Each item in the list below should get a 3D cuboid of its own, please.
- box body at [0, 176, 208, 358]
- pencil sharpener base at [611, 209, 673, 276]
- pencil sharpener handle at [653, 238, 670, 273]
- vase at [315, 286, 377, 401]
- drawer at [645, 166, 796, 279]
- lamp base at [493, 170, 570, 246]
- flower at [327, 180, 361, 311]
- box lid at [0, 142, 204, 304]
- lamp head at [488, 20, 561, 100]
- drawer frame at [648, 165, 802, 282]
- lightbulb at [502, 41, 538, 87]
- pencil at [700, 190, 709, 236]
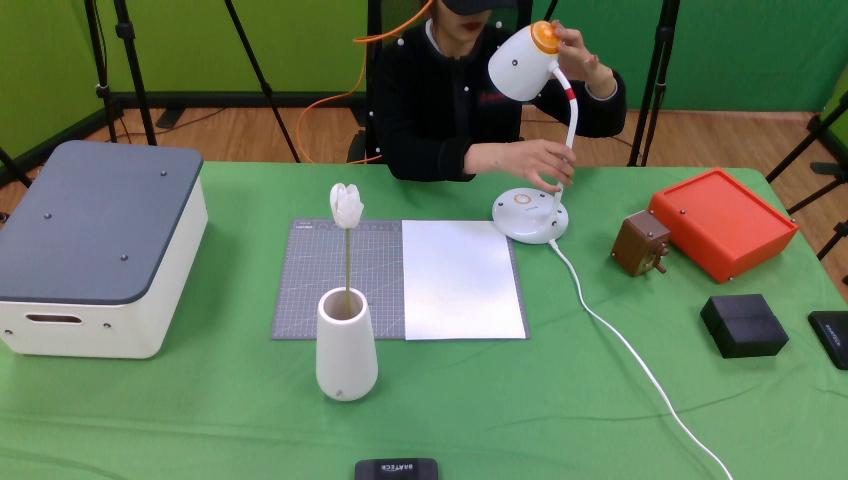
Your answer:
[{"bbox_3d":[-0.546,0.017,1.045,0.254,0.161,0.361,2,46,-2],"label":"box body"},{"bbox_3d":[0.416,0.007,1.158,0.061,0.107,0.076,-21,51,-22],"label":"pencil sharpener base"},{"bbox_3d":[0.444,0.030,1.120,0.036,0.068,0.030,-25,52,-18],"label":"pencil sharpener handle"},{"bbox_3d":[-0.119,0.159,0.911,0.098,0.201,0.097,2,47,-2],"label":"vase"},{"bbox_3d":[0.600,-0.040,1.236,0.195,0.073,0.210,-21,52,-23],"label":"drawer"},{"bbox_3d":[0.234,-0.099,1.197,0.161,0.181,0.178,-22,55,-23],"label":"lamp base"},{"bbox_3d":[-0.110,0.086,0.867,0.044,0.363,0.038,22,33,35],"label":"flower"},{"bbox_3d":[-0.534,-0.044,0.995,0.263,0.015,0.369,3,45,-3],"label":"box lid"},{"bbox_3d":[0.189,-0.323,1.072,0.113,0.123,0.112,8,69,-23],"label":"lamp head"},{"bbox_3d":[0.603,-0.040,1.234,0.202,0.083,0.212,-21,51,-23],"label":"drawer frame"},{"bbox_3d":[0.178,-0.320,1.096,0.059,0.108,0.059,4,70,-11],"label":"lightbulb"},{"bbox_3d":[0.583,-0.058,1.257,0.012,0.012,0.193,16,35,12],"label":"pencil"}]
